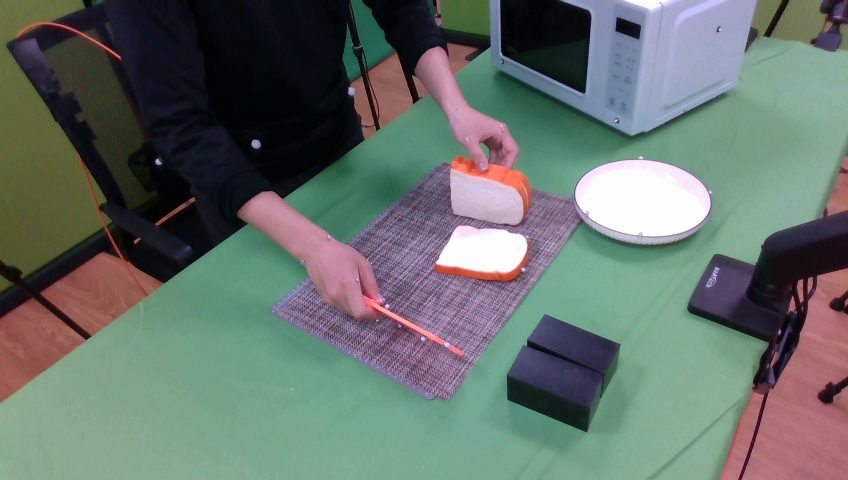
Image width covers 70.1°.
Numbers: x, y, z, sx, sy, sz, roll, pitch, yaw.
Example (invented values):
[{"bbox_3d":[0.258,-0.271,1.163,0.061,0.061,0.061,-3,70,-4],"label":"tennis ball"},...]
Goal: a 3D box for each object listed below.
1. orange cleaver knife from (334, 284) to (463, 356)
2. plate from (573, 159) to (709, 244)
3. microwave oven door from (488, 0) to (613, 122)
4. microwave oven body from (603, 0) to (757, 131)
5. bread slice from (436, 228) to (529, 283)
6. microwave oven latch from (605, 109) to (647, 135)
[{"bbox_3d":[-0.038,0.105,0.806,0.209,0.078,0.012,22,79,38],"label":"orange cleaver knife"},{"bbox_3d":[0.347,-0.059,0.978,0.207,0.039,0.206,-4,41,4],"label":"plate"},{"bbox_3d":[0.250,-0.412,1.219,0.039,0.245,0.352,-27,44,-21],"label":"microwave oven door"},{"bbox_3d":[0.396,-0.448,1.248,0.327,0.261,0.437,-27,44,-21],"label":"microwave oven body"},{"bbox_3d":[0.093,0.024,0.929,0.133,0.018,0.107,7,47,29],"label":"bread slice"},{"bbox_3d":[0.378,-0.225,1.139,0.030,0.029,0.078,-26,43,-19],"label":"microwave oven latch"}]
